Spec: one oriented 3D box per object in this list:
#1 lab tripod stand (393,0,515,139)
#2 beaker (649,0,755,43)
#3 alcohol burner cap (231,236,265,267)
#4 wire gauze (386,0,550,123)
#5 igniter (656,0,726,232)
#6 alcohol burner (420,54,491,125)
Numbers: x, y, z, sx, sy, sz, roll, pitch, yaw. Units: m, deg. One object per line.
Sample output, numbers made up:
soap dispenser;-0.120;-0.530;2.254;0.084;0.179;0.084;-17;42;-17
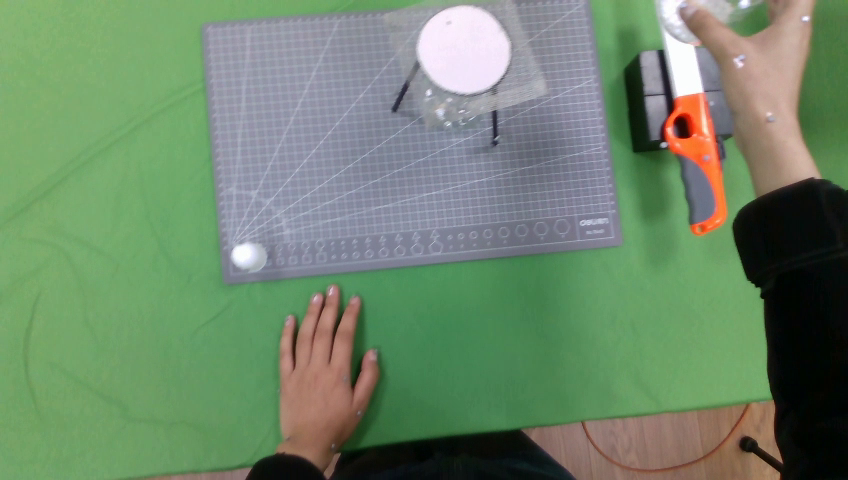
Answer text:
lab tripod stand;0.038;-0.180;0.630;0.148;0.131;0.148;0;83;-2
beaker;0.234;-0.213;0.492;0.084;0.100;0.074;12;81;-4
alcohol burner cap;-0.190;0.011;0.646;0.034;0.048;0.034;0;85;-4
wire gauze;0.041;-0.180;0.564;0.125;0.011;0.121;-19;86;-5
igniter;0.285;-0.147;0.652;0.057;0.025;0.276;-8;85;7
alcohol burner;0.035;-0.164;0.639;0.078;0.119;0.078;0;86;-3
